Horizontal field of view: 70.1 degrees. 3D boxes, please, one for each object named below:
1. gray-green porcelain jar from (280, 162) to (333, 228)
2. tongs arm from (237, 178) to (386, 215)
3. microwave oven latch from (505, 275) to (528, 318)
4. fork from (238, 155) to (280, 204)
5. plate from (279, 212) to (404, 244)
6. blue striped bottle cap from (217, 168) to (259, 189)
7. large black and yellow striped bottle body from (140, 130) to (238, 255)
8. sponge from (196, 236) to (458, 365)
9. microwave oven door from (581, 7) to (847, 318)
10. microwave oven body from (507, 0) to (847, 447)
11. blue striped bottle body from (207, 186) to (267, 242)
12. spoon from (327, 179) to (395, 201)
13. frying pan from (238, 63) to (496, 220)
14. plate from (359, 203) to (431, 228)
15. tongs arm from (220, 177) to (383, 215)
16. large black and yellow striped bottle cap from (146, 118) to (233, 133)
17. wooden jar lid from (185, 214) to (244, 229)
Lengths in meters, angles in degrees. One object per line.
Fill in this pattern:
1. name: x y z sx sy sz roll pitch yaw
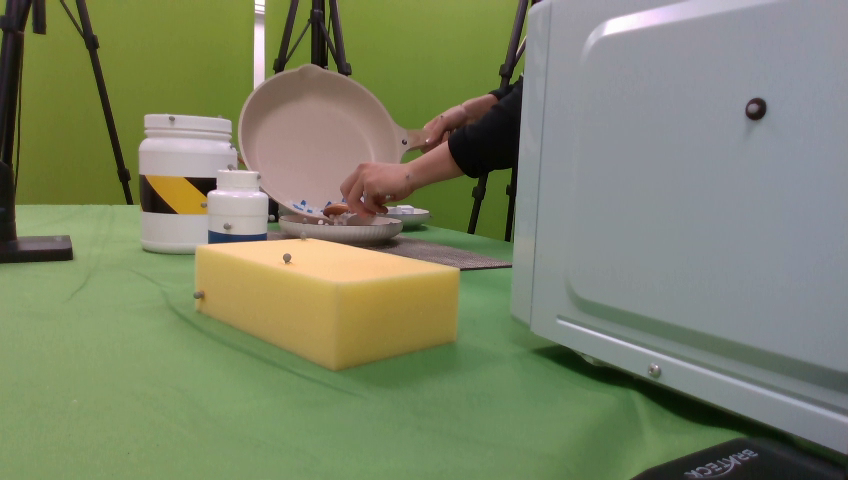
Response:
1. gray-green porcelain jar: -0.238 -0.092 1.221 0.106 0.126 0.106 2 8 0
2. tongs arm: -0.241 -0.095 1.373 0.387 0.026 0.050 8 0 -37
3. microwave oven latch: 0.100 0.041 0.472 0.079 0.029 0.030 -2 8 -30
4. fork: -0.396 -0.143 1.486 0.028 0.018 0.208 20 -26 45
5. plate: -0.139 -0.022 1.020 0.209 0.038 0.209 2 8 0
6. blue striped bottle cap: -0.202 -0.067 0.656 0.044 0.020 0.044 0 10 0
7. large black and yellow striped bottle body: -0.336 -0.078 0.871 0.131 0.184 0.130 2 8 0
8. sponge: -0.087 0.039 0.500 0.206 0.061 0.119 8 9 44
9. microwave oven door: 0.295 -0.067 0.569 0.358 0.243 0.039 -3 8 -31
10. microwave oven body: 0.331 -0.042 0.425 0.444 0.260 0.324 -2 8 -31
11. blue striped bottle body: -0.204 -0.016 0.663 0.063 0.120 0.063 2 7 0
12. spoon: -0.104 -0.077 0.982 0.192 0.021 0.042 19 -23 52
13. frying pan: -0.090 -0.186 1.132 0.490 0.306 0.102 -8 -13 -16
14. plate: -0.089 -0.053 1.309 0.208 0.039 0.207 2 8 0
15. tongs arm: -0.285 -0.103 1.445 0.389 0.027 0.028 9 -4 -23
16. large black and yellow striped bottle cap: -0.333 -0.163 0.861 0.115 0.019 0.115 1 9 0
17. wooden jar lid: -0.404 -0.037 1.169 0.108 0.020 0.108 3 7 0
